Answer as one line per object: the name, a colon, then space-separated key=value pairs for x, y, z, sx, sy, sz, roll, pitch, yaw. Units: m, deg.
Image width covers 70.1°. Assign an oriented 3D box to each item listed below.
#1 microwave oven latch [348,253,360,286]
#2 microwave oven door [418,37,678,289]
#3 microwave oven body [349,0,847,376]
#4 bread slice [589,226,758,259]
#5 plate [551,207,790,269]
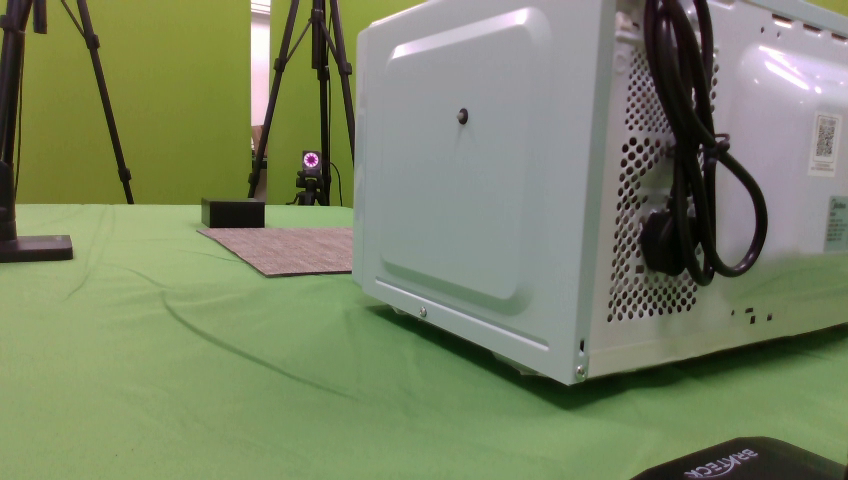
microwave oven latch: x=-0.034 y=0.028 z=0.581 sx=0.079 sy=0.029 sz=0.030 roll=-1 pitch=7 yaw=-32
microwave oven door: x=0.159 y=-0.079 z=0.684 sx=0.358 sy=0.243 sz=0.039 roll=-2 pitch=9 yaw=-32
microwave oven body: x=0.199 y=-0.053 z=0.540 sx=0.444 sy=0.260 sz=0.324 roll=-1 pitch=8 yaw=-32
bread slice: x=0.226 y=0.001 z=0.568 sx=0.132 sy=0.019 sz=0.104 roll=4 pitch=5 yaw=-23
plate: x=0.224 y=-0.004 z=0.572 sx=0.209 sy=0.038 sz=0.209 roll=3 pitch=8 yaw=0
